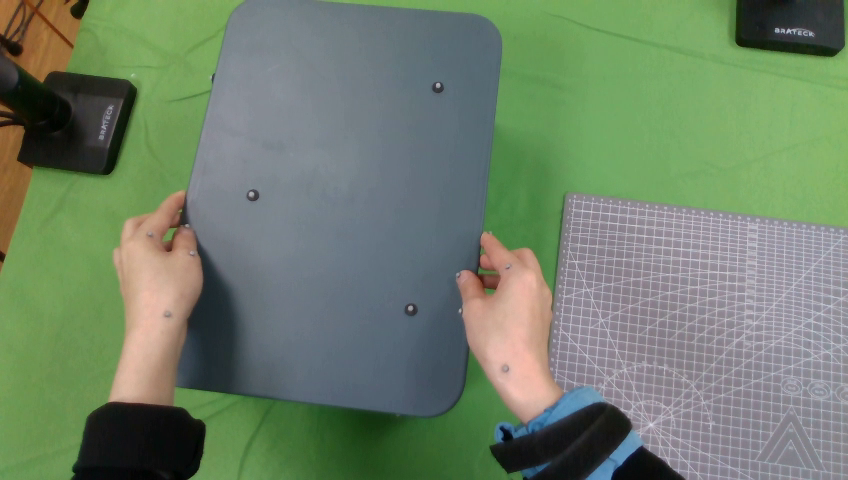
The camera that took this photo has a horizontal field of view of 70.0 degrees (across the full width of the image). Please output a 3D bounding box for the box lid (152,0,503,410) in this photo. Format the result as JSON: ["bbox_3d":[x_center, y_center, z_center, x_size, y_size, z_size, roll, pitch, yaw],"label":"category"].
[{"bbox_3d":[-0.075,-0.053,0.533,0.263,0.015,0.369,6,77,3],"label":"box lid"}]

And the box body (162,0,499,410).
[{"bbox_3d":[-0.071,-0.029,0.610,0.254,0.161,0.362,6,77,4],"label":"box body"}]
